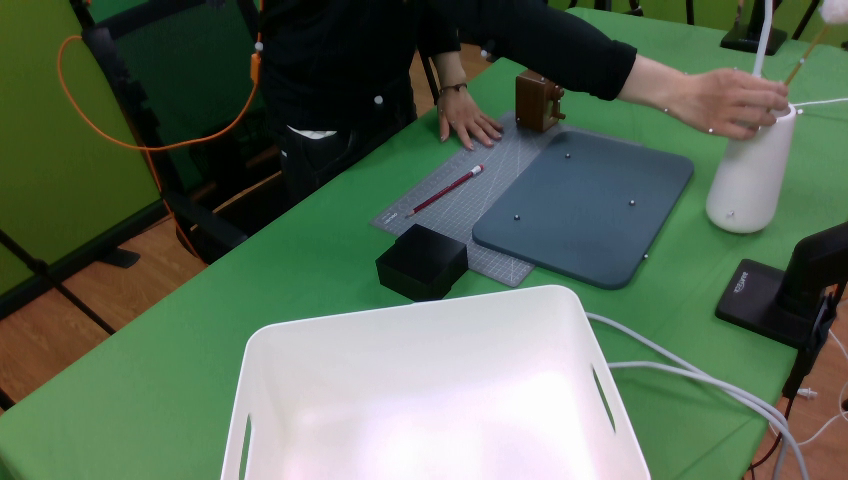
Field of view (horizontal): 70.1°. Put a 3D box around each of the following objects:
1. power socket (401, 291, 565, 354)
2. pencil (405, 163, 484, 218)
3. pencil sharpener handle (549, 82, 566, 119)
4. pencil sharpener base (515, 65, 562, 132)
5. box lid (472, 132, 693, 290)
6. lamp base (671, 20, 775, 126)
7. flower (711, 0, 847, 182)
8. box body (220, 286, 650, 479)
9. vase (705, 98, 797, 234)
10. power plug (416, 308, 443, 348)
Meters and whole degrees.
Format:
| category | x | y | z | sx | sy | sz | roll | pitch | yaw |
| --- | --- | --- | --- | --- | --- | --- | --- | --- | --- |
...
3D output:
| category | x | y | z | sx | sy | sz | roll | pitch | yaw |
| --- | --- | --- | --- | --- | --- | --- | --- | --- | --- |
| power socket | 0.080 | 0.111 | 0.823 | 0.227 | 0.033 | 0.072 | -5 | 41 | 1 |
| pencil | 0.038 | -0.089 | 1.079 | 0.195 | 0.012 | 0.012 | -36 | 48 | -27 |
| pencil sharpener handle | 0.261 | -0.266 | 1.157 | 0.030 | 0.068 | 0.036 | 29 | 46 | 35 |
| pencil sharpener base | 0.227 | -0.278 | 1.195 | 0.076 | 0.107 | 0.061 | 29 | 52 | 35 |
| box lid | 0.273 | -0.068 | 1.020 | 0.261 | 0.015 | 0.372 | 20 | 47 | 28 |
| lamp base | 0.581 | -0.332 | 1.154 | 0.179 | 0.181 | 0.160 | 2 | 41 | 7 |
| flower | 0.463 | -0.187 | 0.797 | 0.038 | 0.362 | 0.044 | 12 | 59 | 4 |
| box body | 0.006 | 0.210 | 0.618 | 0.364 | 0.161 | 0.252 | -8 | 40 | -1 |
| vase | 0.480 | -0.104 | 0.889 | 0.098 | 0.201 | 0.097 | -4 | 42 | 4 |
| power plug | 0.005 | 0.121 | 0.787 | 0.035 | 0.053 | 0.072 | 2 | 46 | 8 |
